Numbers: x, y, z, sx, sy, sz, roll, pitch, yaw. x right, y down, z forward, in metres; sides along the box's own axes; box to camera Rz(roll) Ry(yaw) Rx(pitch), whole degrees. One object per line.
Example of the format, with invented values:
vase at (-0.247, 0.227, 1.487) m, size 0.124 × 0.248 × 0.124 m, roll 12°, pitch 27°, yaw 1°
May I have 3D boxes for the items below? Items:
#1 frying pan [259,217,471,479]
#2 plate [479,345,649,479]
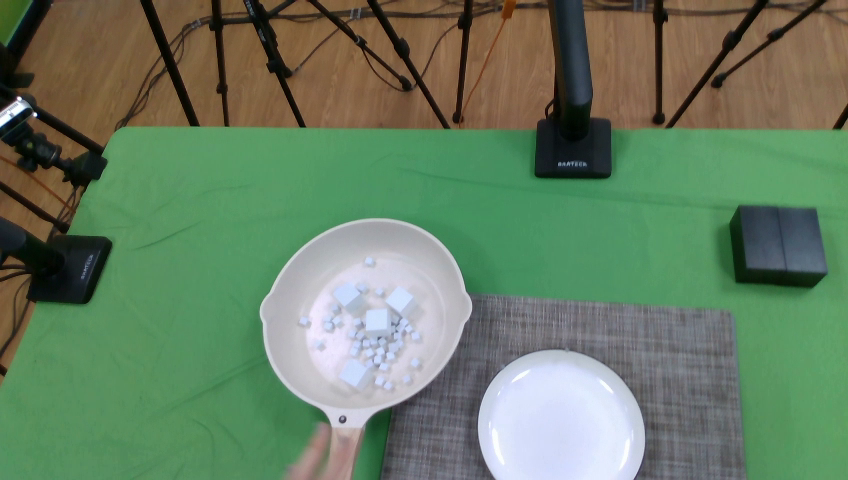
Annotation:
frying pan at (-0.093, 0.190, 0.810) m, size 0.306 × 0.104 × 0.483 m, roll -1°, pitch 54°, yaw 12°
plate at (0.176, 0.239, 0.774) m, size 0.207 × 0.039 × 0.206 m, roll -4°, pitch 62°, yaw 8°
